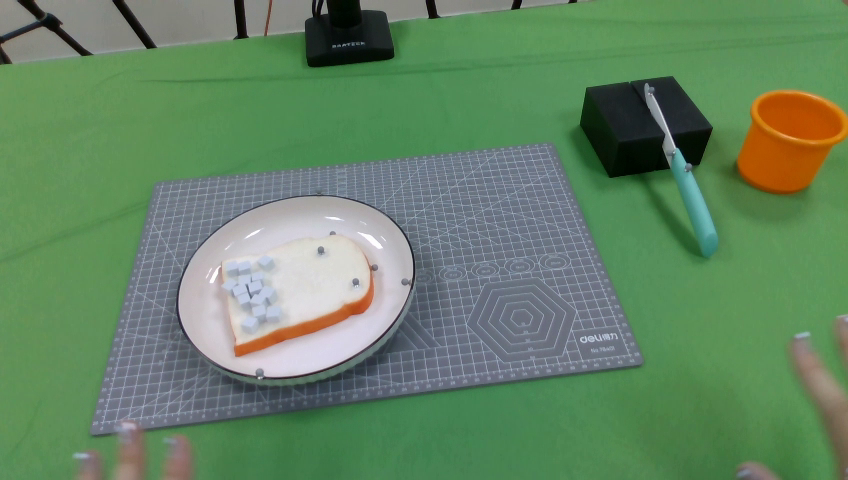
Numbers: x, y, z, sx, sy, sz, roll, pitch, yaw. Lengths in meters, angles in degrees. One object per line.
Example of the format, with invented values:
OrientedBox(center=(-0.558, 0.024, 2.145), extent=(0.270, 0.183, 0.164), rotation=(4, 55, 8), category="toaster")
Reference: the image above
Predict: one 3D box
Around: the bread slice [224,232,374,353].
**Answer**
OrientedBox(center=(-0.113, 0.038, 0.551), extent=(0.132, 0.019, 0.103), rotation=(-18, 50, -12), category="bread slice")

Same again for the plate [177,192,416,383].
OrientedBox(center=(-0.110, 0.040, 0.545), extent=(0.209, 0.038, 0.207), rotation=(-1, 48, 1), category="plate")

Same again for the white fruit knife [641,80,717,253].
OrientedBox(center=(0.253, -0.083, 0.615), extent=(0.016, 0.027, 0.205), rotation=(-8, 63, -5), category="white fruit knife")
